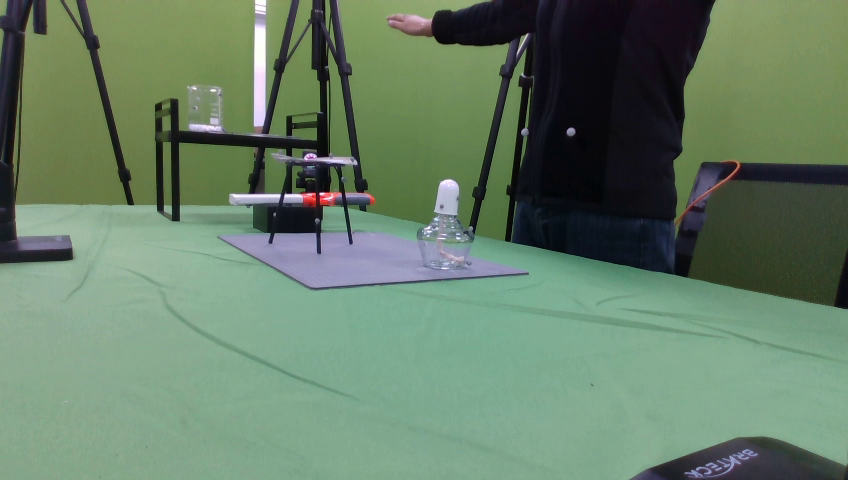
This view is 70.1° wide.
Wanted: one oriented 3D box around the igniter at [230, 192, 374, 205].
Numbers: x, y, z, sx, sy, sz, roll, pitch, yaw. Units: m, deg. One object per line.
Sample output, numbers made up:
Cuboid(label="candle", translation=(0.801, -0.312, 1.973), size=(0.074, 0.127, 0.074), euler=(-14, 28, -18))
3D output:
Cuboid(label="igniter", translation=(-0.228, -0.079, 1.164), size=(0.278, 0.025, 0.057), euler=(-2, 15, -30))

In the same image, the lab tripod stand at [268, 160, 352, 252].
Cuboid(label="lab tripod stand", translation=(-0.171, -0.055, 0.921), size=(0.148, 0.131, 0.148), euler=(1, 8, 0))

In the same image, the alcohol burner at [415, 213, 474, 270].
Cuboid(label="alcohol burner", translation=(0.028, -0.020, 0.798), size=(0.078, 0.119, 0.078), euler=(4, 5, 0))

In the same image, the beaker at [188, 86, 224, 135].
Cuboid(label="beaker", translation=(-0.474, -0.280, 1.311), size=(0.074, 0.100, 0.084), euler=(5, 8, 26))

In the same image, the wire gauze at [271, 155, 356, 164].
Cuboid(label="wire gauze", translation=(-0.167, -0.122, 0.917), size=(0.125, 0.011, 0.121), euler=(0, 7, -9))

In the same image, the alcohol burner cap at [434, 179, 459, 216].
Cuboid(label="alcohol burner cap", translation=(0.031, -0.055, 0.792), size=(0.034, 0.048, 0.034), euler=(6, 9, -1))

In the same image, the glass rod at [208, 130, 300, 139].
Cuboid(label="glass rod", translation=(-0.367, -0.231, 1.321), size=(0.201, 0.008, 0.008), euler=(-1, 8, -30))
